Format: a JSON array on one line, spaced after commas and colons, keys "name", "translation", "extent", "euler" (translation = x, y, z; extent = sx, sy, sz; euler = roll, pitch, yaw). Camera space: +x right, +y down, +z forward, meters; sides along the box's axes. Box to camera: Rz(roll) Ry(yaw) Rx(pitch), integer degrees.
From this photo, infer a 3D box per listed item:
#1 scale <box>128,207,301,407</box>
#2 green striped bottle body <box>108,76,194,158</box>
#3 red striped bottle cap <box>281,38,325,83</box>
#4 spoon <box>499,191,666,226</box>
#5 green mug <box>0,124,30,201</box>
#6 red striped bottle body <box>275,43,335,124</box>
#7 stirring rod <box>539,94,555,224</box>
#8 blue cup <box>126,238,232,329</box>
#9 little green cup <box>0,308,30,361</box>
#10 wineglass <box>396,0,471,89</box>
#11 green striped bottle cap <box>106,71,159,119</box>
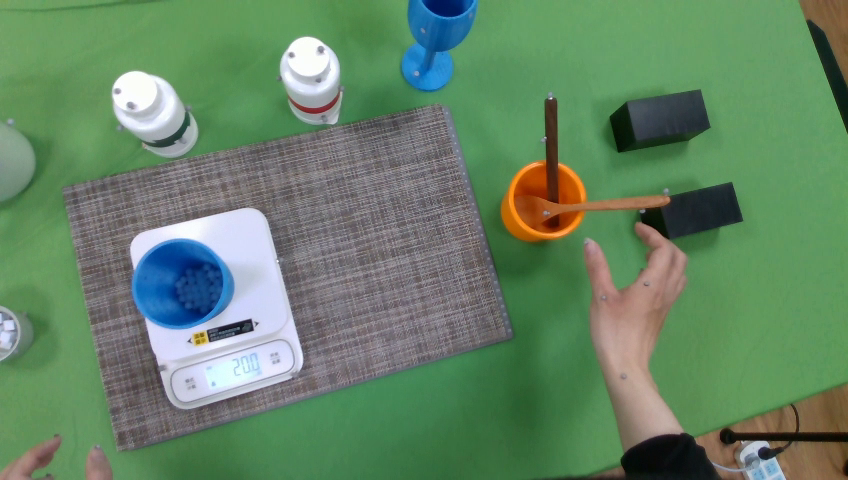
[{"name": "scale", "translation": [-0.231, 0.072, 0.673], "extent": [0.149, 0.031, 0.200], "euler": [-16, 85, -9]}, {"name": "green striped bottle body", "translation": [-0.294, -0.134, 0.652], "extent": [0.063, 0.119, 0.063], "euler": [1, 82, -7]}, {"name": "red striped bottle cap", "translation": [-0.126, -0.186, 0.627], "extent": [0.044, 0.018, 0.044], "euler": [1, 80, -6]}, {"name": "spoon", "translation": [0.172, -0.040, 0.685], "extent": [0.022, 0.192, 0.041], "euler": [-2, 90, -51]}, {"name": "green mug", "translation": [-0.485, -0.074, 0.627], "extent": [0.092, 0.105, 0.125], "euler": [20, 80, -4]}, {"name": "red striped bottle body", "translation": [-0.132, -0.179, 0.680], "extent": [0.063, 0.120, 0.063], "euler": [1, 81, -7]}, {"name": "stirring rod", "translation": [0.140, -0.085, 0.687], "extent": [0.014, 0.178, 0.005], "euler": [-7, 42, 6]}, {"name": "blue cup", "translation": [-0.234, 0.045, 0.610], "extent": [0.093, 0.100, 0.092], "euler": [1, 84, -8]}, {"name": "little green cup", "translation": [-0.453, 0.100, 0.640], "extent": [0.062, 0.038, 0.061], "euler": [1, 81, -8]}, {"name": "wineglass", "translation": [0.006, -0.233, 0.677], "extent": [0.074, 0.172, 0.073], "euler": [1, 81, -6]}, {"name": "green striped bottle cap", "translation": [-0.288, -0.143, 0.598], "extent": [0.044, 0.020, 0.044], "euler": [1, 82, -5]}]
